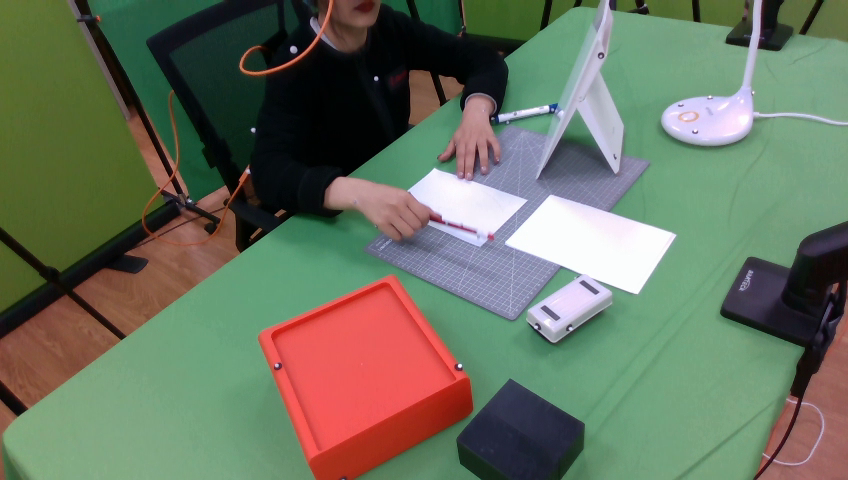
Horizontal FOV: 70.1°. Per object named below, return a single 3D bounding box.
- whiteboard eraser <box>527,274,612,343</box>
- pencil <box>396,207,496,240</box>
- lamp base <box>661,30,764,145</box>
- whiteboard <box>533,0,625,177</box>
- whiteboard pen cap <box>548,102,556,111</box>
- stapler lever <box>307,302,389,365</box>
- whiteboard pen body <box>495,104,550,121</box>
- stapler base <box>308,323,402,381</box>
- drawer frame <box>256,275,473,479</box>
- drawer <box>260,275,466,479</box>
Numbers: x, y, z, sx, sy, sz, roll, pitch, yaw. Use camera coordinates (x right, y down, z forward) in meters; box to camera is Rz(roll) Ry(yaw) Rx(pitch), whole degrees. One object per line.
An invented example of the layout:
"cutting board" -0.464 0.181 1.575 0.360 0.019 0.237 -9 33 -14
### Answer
"whiteboard eraser" 0.198 0.094 0.820 0.113 0.042 0.055 -30 43 -22
"pencil" 0.030 -0.029 0.958 0.192 0.012 0.012 19 47 33
"lamp base" 0.535 -0.287 1.096 0.179 0.181 0.159 -10 40 -4
"whiteboard" 0.321 -0.258 1.049 0.144 0.306 0.217 21 45 4
"whiteboard pen cap" 0.273 -0.279 1.259 0.033 0.018 0.018 -10 40 -4
"stapler lever" -0.101 0.121 0.799 0.118 0.040 0.026 -26 29 -17
"whiteboard pen body" 0.216 -0.267 1.257 0.141 0.017 0.017 -12 40 -4
"stapler base" -0.094 0.142 0.812 0.131 0.024 0.041 -25 29 -17
"drawer frame" -0.078 0.163 0.756 0.202 0.083 0.211 -23 43 -17
"drawer" -0.080 0.162 0.760 0.195 0.073 0.210 -22 42 -16
